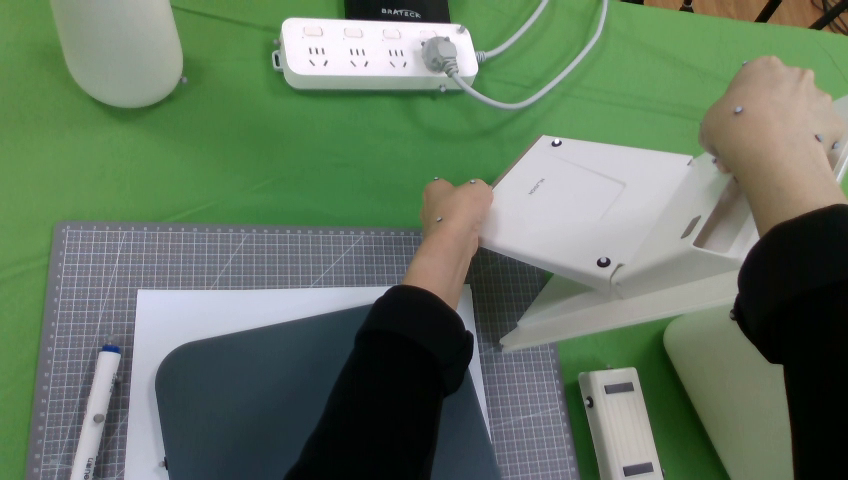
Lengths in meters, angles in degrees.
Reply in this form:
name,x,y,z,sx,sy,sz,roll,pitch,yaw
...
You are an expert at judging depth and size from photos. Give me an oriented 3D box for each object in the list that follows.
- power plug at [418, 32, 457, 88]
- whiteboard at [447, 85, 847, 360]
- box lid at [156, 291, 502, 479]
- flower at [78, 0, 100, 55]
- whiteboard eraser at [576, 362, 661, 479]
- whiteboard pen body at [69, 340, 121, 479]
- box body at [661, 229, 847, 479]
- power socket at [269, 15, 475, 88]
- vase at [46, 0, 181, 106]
name,x,y,z,sx,sy,sz,roll,pitch,yaw
power plug,0.011,-0.185,0.640,0.035,0.053,0.072,5,74,-16
whiteboard,0.154,-0.049,0.498,0.144,0.305,0.216,45,62,-3
box lid,-0.053,0.232,0.492,0.264,0.015,0.369,-10,74,-21
flower,-0.215,-0.218,0.421,0.038,0.361,0.044,50,53,-13
whiteboard eraser,0.181,0.174,0.573,0.056,0.042,0.112,-2,70,-20
whiteboard pen body,-0.250,0.145,0.454,0.017,0.017,0.140,8,69,-14
box body,0.429,0.182,0.581,0.255,0.161,0.362,-18,76,-23
power socket,-0.049,-0.201,0.652,0.227,0.032,0.071,-5,72,-20
vase,-0.257,-0.197,0.491,0.098,0.200,0.097,6,67,-14
